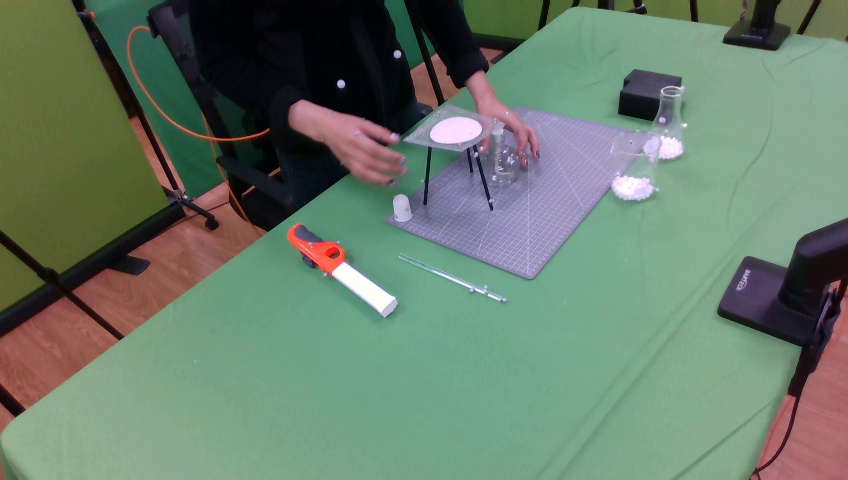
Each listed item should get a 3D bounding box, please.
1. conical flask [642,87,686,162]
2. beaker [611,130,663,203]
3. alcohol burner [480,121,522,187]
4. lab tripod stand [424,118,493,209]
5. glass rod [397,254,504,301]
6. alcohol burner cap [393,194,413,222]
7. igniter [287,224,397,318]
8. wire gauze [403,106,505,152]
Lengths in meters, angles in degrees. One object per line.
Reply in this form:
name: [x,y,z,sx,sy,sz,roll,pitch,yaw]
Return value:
conical flask: [0.429,-0.206,1.067,0.075,0.122,0.075,-6,40,6]
beaker: [0.346,-0.118,0.998,0.084,0.101,0.073,-17,40,-7]
alcohol burner: [0.133,-0.154,1.065,0.078,0.119,0.077,-6,39,5]
lab tripod stand: [0.061,-0.133,1.039,0.148,0.132,0.147,-6,39,6]
glass rod: [0.036,0.054,0.922,0.198,0.008,0.008,21,49,31]
alcohol burner cap: [-0.039,-0.057,1.038,0.034,0.048,0.033,-6,40,5]
igniter: [-0.139,0.042,0.957,0.057,0.025,0.274,-42,49,-18]
wire gauze: [0.049,-0.181,0.992,0.120,0.011,0.125,23,48,34]
